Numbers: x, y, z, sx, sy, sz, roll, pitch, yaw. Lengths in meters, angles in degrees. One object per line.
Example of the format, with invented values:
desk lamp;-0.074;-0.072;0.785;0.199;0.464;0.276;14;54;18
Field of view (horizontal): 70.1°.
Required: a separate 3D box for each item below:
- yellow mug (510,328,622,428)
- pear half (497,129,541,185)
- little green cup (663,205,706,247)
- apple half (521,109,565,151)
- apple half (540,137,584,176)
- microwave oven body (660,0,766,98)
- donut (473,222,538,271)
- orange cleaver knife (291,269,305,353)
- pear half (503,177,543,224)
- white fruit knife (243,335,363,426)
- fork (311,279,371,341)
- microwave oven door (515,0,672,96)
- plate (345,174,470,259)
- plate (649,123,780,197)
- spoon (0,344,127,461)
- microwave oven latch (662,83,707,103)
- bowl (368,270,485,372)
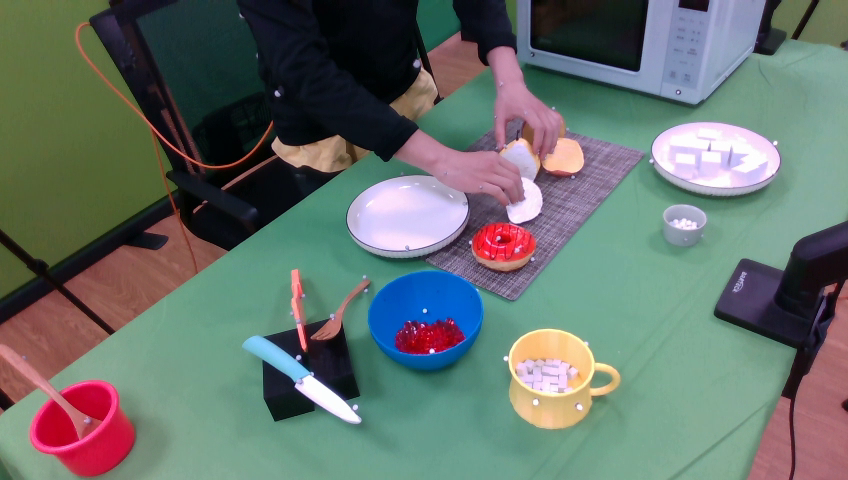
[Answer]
yellow mug;0.169;0.164;0.722;0.130;0.064;0.099;0;40;8
pear half;0.167;-0.151;1.053;0.076;0.110;0.056;9;44;13
little green cup;0.396;-0.021;0.926;0.061;0.039;0.061;-4;40;4
apple half;0.224;-0.212;1.145;0.080;0.075;0.053;-6;36;9
apple half;0.247;-0.146;1.089;0.081;0.033;0.081;-1;65;4
microwave oven body;0.472;-0.513;1.317;0.438;0.261;0.327;26;51;34
donut;0.124;0.009;0.923;0.099;0.048;0.098;-4;37;3
orange cleaver knife;-0.175;0.094;0.844;0.012;0.077;0.210;-11;15;-10
pear half;0.159;-0.060;1.002;0.070;0.031;0.088;27;70;-3
white fruit knife;-0.148;0.167;0.730;0.206;0.016;0.027;26;80;31
fork;-0.108;0.092;0.832;0.028;0.019;0.207;-6;19;15
microwave oven door;0.343;-0.455;1.259;0.353;0.245;0.039;26;51;33
plate;-0.026;-0.036;1.004;0.209;0.038;0.208;-4;40;4
plate;0.497;-0.135;1.046;0.207;0.039;0.206;-4;40;4
spoon;-0.433;0.191;0.721;0.194;0.021;0.042;47;52;-6
microwave oven latch;0.517;-0.296;1.204;0.078;0.029;0.030;27;52;35
bowl;0.007;0.118;0.791;0.151;0.077;0.150;-5;40;4
